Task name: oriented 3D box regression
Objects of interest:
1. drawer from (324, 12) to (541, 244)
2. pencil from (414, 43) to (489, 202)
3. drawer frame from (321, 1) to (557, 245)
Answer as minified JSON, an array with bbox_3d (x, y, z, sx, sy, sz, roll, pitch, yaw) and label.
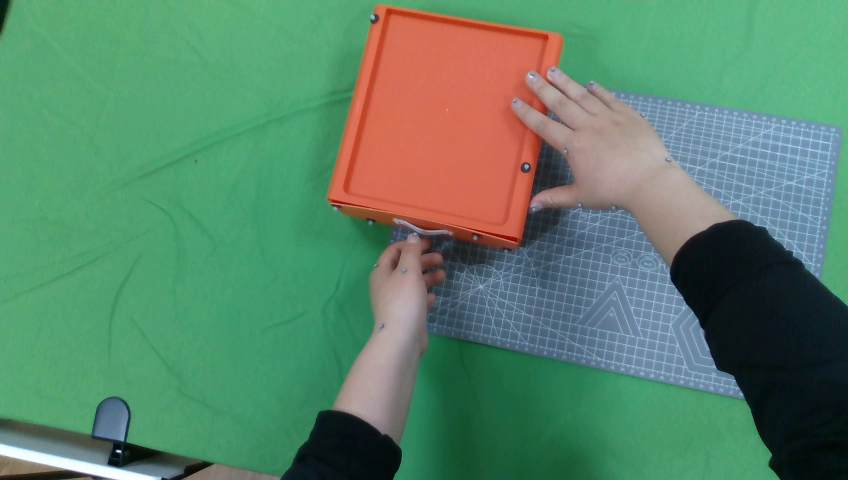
[{"bbox_3d":[0.017,-0.115,0.636,0.194,0.073,0.211,11,84,7],"label":"drawer"},{"bbox_3d":[0.031,-0.128,0.661,0.012,0.012,0.193,-24,85,3],"label":"pencil"},{"bbox_3d":[0.017,-0.120,0.635,0.201,0.083,0.213,11,84,8],"label":"drawer frame"}]
